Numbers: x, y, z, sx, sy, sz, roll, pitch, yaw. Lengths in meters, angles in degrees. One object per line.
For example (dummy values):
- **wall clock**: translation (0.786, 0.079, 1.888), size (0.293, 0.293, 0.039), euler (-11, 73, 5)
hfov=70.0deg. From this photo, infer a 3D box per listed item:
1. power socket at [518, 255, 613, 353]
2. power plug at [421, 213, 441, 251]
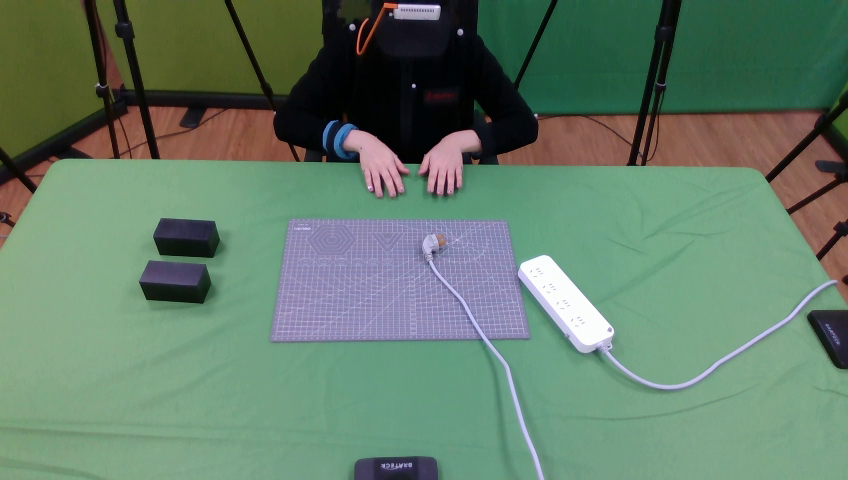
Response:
- **power socket**: translation (0.253, 0.112, 1.099), size (0.072, 0.033, 0.225), euler (-19, 51, -20)
- **power plug**: translation (0.015, -0.015, 1.169), size (0.035, 0.072, 0.052), euler (7, 13, -11)
